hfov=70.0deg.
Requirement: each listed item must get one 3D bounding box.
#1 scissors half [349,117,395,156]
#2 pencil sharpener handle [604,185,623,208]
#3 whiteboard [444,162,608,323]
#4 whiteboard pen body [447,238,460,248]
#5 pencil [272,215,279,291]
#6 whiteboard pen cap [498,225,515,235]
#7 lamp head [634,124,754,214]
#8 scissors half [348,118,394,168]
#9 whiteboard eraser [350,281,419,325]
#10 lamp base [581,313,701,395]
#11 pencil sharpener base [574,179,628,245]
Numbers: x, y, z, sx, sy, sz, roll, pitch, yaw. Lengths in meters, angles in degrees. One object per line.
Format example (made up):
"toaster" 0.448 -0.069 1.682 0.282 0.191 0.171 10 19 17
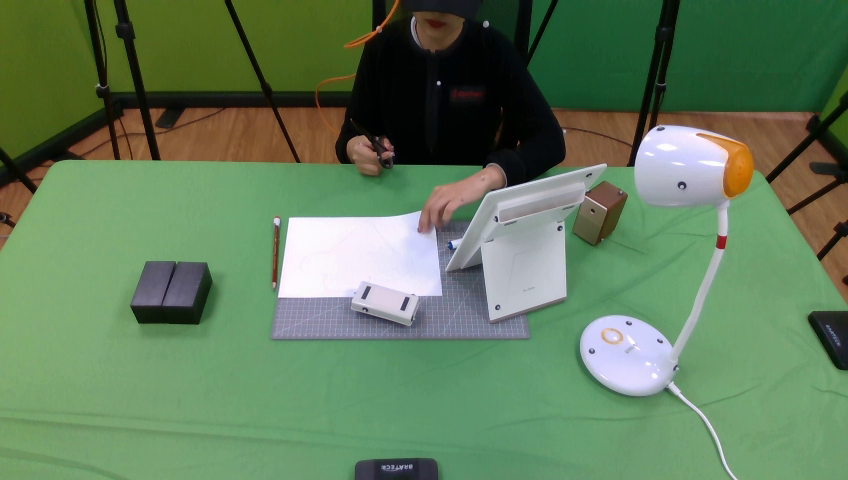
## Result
"scissors half" -0.108 -0.219 1.261 0.013 0.176 0.040 -9 73 26
"pencil sharpener handle" 0.390 -0.092 1.235 0.030 0.068 0.036 -33 69 -31
"whiteboard" 0.186 0.025 1.029 0.217 0.306 0.143 -14 68 -18
"whiteboard pen body" 0.112 -0.006 1.204 0.141 0.017 0.017 -14 49 -18
"pencil" -0.287 0.022 1.164 0.012 0.012 0.192 -4 48 -8
"whiteboard pen cap" 0.166 -0.019 1.222 0.033 0.018 0.018 -14 49 -19
"lamp head" 0.351 -0.089 0.775 0.112 0.113 0.122 -30 30 -28
"scissors half" -0.110 -0.200 1.254 0.013 0.176 0.040 -3 61 28
"whiteboard eraser" -0.069 0.113 1.065 0.112 0.042 0.055 14 46 9
"lamp base" 0.361 0.144 0.972 0.178 0.181 0.160 34 53 23
"pencil sharpener base" 0.355 -0.057 1.217 0.076 0.107 0.061 -33 56 -31
